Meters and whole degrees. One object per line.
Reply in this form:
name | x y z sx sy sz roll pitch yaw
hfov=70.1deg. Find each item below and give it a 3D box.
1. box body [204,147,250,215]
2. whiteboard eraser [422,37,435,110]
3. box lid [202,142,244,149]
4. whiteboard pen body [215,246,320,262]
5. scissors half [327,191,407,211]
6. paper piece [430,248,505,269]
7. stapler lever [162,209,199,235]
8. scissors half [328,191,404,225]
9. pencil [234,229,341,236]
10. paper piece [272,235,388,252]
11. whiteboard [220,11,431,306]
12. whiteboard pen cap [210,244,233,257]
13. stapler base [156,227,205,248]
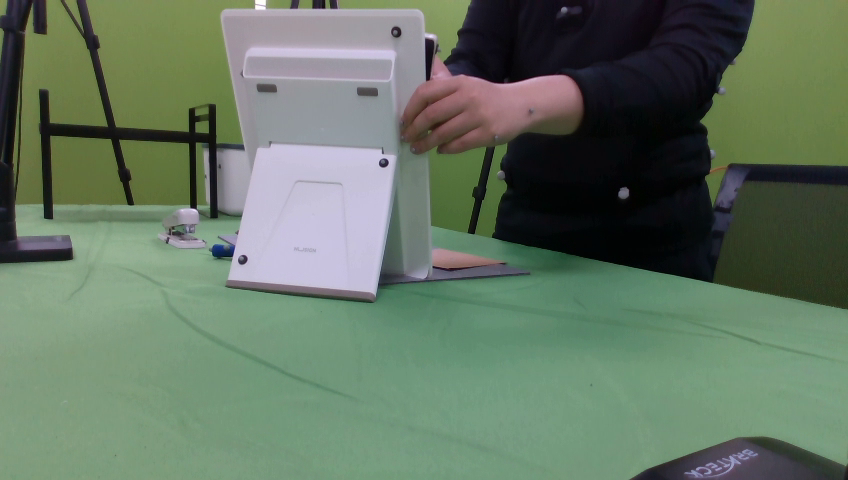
box body | -0.347 -0.152 1.519 0.366 0.160 0.253 -2 9 -31
whiteboard eraser | -0.024 -0.159 0.642 0.055 0.112 0.042 15 32 8
box lid | -0.345 -0.225 1.509 0.373 0.015 0.262 -2 8 -31
whiteboard pen body | -0.208 0.018 0.804 0.141 0.017 0.017 3 7 1
scissors half | -0.123 -0.092 1.316 0.175 0.040 0.013 6 14 -3
paper piece | 0.024 0.025 0.865 0.134 0.004 0.136 10 10 43
stapler lever | -0.376 -0.031 0.933 0.027 0.040 0.117 0 7 -38
scissors half | -0.127 -0.073 1.320 0.175 0.040 0.013 22 7 -6
pencil | -0.232 -0.012 1.053 0.195 0.012 0.012 0 8 -36
paper piece | -0.151 0.003 0.978 0.135 0.008 0.139 14 10 35
whiteboard | -0.119 -0.064 0.619 0.217 0.305 0.144 5 29 13
whiteboard pen cap | -0.266 0.014 0.807 0.033 0.018 0.018 1 8 -1
stapler base | -0.376 -0.007 0.934 0.041 0.024 0.130 1 5 -38
